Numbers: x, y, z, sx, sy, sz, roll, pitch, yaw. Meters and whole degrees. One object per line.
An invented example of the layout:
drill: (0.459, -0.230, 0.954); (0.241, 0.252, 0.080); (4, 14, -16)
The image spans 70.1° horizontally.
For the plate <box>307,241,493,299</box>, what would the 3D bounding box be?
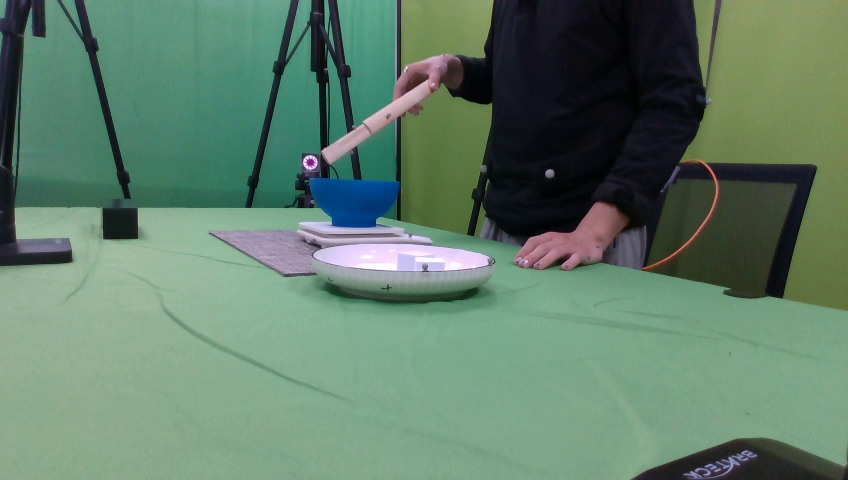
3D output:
plate: (-0.026, 0.034, 0.684); (0.208, 0.039, 0.207); (2, 7, 0)

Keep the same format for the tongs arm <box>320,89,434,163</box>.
tongs arm: (-0.072, -0.228, 1.104); (0.050, 0.026, 0.385); (-28, 13, 33)

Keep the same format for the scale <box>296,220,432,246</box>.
scale: (-0.101, -0.012, 1.017); (0.202, 0.031, 0.148); (-1, 8, -30)

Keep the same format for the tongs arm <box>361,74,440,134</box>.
tongs arm: (-0.031, -0.248, 1.075); (0.028, 0.028, 0.388); (-34, 11, 29)

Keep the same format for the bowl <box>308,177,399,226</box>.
bowl: (-0.117, -0.064, 1.001); (0.151, 0.077, 0.151); (2, 6, 0)
